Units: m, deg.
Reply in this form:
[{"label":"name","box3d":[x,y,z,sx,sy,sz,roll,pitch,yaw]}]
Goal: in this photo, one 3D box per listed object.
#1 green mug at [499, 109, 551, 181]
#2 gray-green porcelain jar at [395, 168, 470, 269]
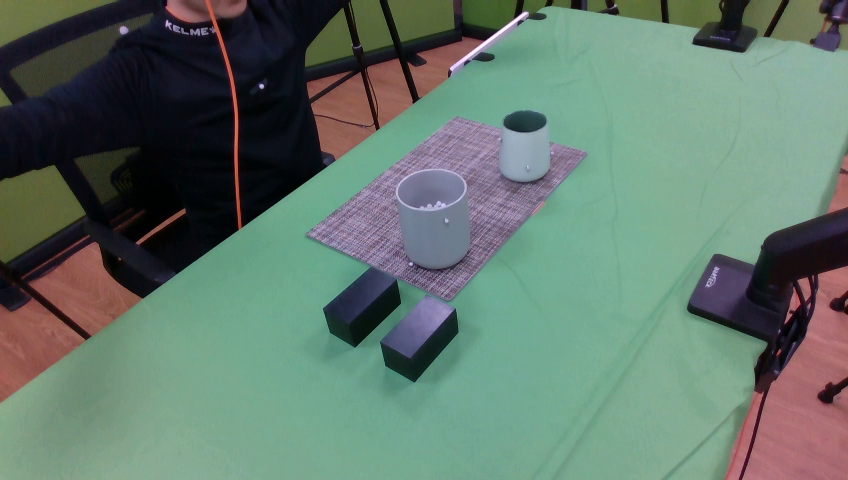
[{"label":"green mug","box3d":[0.172,-0.176,1.078,0.093,0.105,0.124,-17,42,-10]},{"label":"gray-green porcelain jar","box3d":[0.016,-0.028,0.913,0.106,0.127,0.105,-4,41,4]}]
